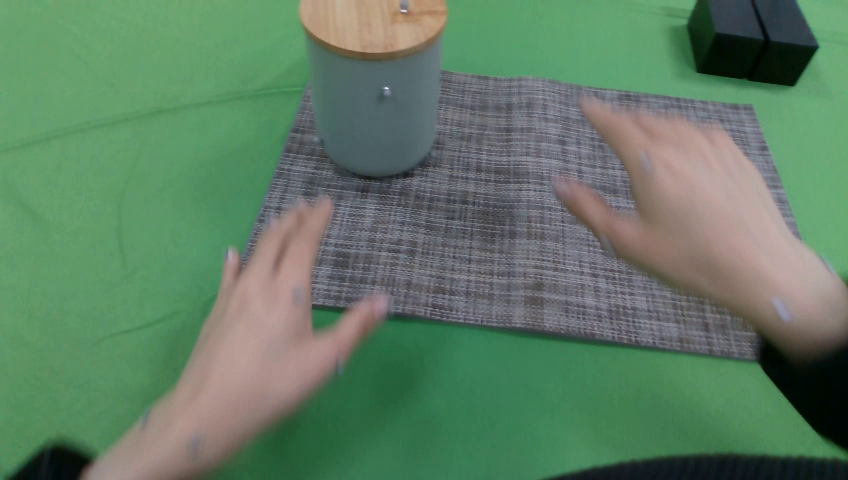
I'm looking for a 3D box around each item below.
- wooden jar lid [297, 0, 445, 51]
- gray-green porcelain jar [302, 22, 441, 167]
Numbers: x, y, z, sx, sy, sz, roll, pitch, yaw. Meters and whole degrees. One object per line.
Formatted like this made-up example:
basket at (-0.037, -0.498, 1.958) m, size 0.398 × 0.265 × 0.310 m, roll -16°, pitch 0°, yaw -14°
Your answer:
wooden jar lid at (-0.039, -0.171, 0.448) m, size 0.108 × 0.021 × 0.107 m, roll 1°, pitch 54°, yaw -1°
gray-green porcelain jar at (-0.042, -0.132, 0.497) m, size 0.106 × 0.127 × 0.105 m, roll 2°, pitch 52°, yaw -3°
